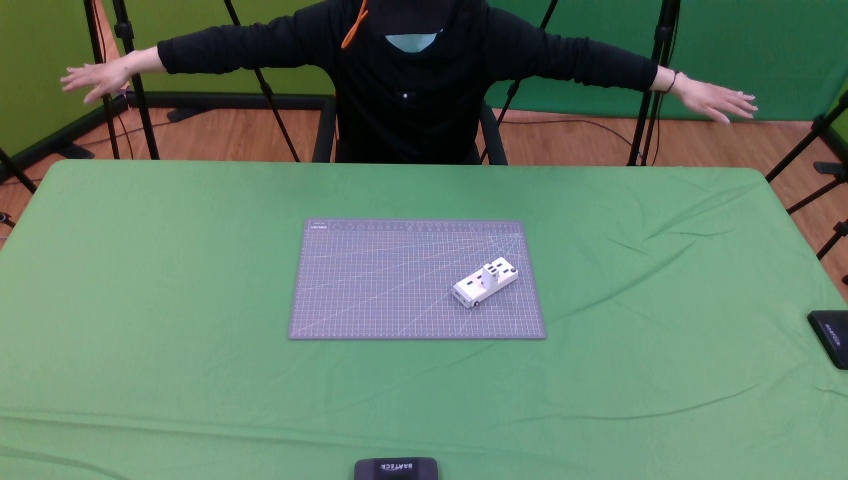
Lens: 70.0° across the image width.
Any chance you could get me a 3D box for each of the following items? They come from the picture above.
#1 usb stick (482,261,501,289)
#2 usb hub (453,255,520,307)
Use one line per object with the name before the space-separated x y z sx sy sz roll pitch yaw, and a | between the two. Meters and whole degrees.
usb stick | 0.121 0.067 1.090 0.021 0.059 0.027 -30 57 -28
usb hub | 0.117 0.076 1.122 0.125 0.025 0.049 -28 55 -26
